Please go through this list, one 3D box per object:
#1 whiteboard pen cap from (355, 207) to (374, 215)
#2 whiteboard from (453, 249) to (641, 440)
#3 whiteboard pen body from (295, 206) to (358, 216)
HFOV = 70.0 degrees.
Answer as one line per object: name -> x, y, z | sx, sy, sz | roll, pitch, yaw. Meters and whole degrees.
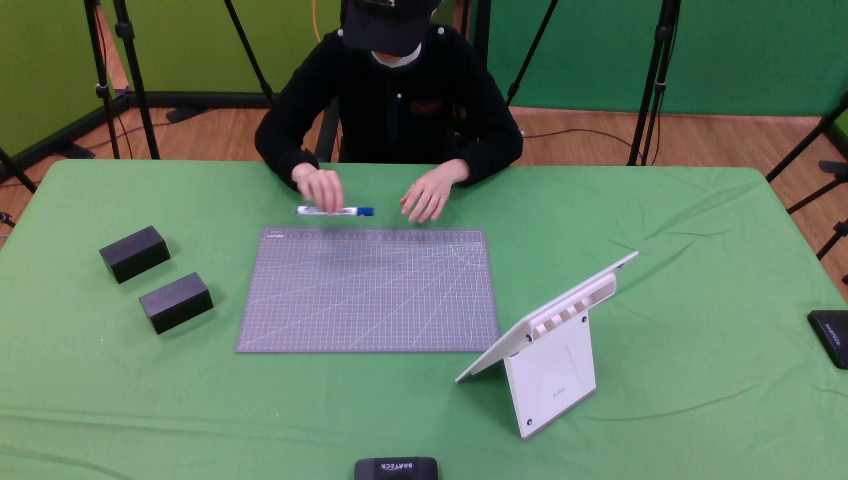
whiteboard pen cap -> -0.110, -0.054, 1.118 | 0.033, 0.018, 0.018 | 0, 46, 6
whiteboard -> 0.206, 0.174, 0.890 | 0.217, 0.306, 0.143 | -25, 72, -25
whiteboard pen body -> -0.170, -0.054, 1.121 | 0.141, 0.017, 0.017 | 2, 46, 3
